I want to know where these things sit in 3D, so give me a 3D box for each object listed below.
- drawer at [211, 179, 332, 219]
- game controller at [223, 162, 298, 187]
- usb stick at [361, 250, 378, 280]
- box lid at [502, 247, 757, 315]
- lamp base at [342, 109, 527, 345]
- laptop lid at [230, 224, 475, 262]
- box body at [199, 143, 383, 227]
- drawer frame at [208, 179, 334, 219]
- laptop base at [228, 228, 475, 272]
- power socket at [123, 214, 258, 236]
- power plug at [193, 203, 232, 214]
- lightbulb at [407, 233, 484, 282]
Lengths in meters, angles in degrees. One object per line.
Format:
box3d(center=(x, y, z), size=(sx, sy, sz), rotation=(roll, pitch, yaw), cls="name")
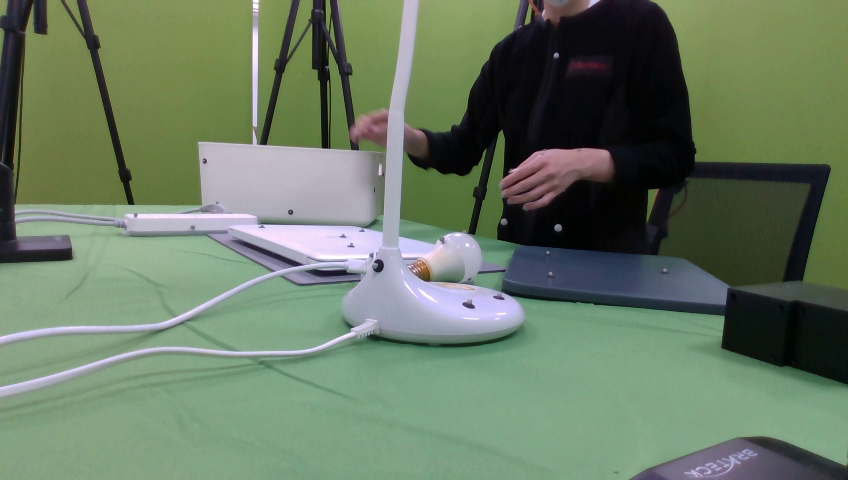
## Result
box3d(center=(-0.328, -0.096, 1.332), size=(0.212, 0.073, 0.194), rotation=(5, 7, 5), cls="drawer")
box3d(center=(-0.357, -0.143, 1.322), size=(0.156, 0.051, 0.097), rotation=(1, 3, -17), cls="game controller")
box3d(center=(-0.052, 0.033, 0.656), size=(0.027, 0.021, 0.059), rotation=(5, -27, -20), cls="usb stick")
box3d(center=(0.244, 0.044, 0.793), size=(0.263, 0.015, 0.372), rotation=(4, 7, 11), cls="box lid")
box3d(center=(0.006, -0.015, 0.505), size=(0.160, 0.180, 0.180), rotation=(6, 11, 29), cls="lamp base")
box3d(center=(-0.119, 0.000, 0.889), size=(0.243, 0.013, 0.355), rotation=(1, 7, -33), cls="laptop lid")
box3d(center=(-0.276, -0.124, 1.334), size=(0.364, 0.160, 0.254), rotation=(3, 7, 1), cls="box body")
box3d(center=(-0.326, -0.093, 1.328), size=(0.213, 0.082, 0.202), rotation=(-1, 6, 6), cls="drawer frame")
box3d(center=(-0.122, 0.011, 0.889), size=(0.237, 0.023, 0.352), rotation=(1, 6, -35), cls="laptop base")
box3d(center=(-0.398, -0.028, 1.049), size=(0.228, 0.032, 0.072), rotation=(-3, 8, -34), cls="power socket")
box3d(center=(-0.393, -0.042, 1.139), size=(0.072, 0.052, 0.035), rotation=(-14, 2, 31), cls="power plug")
box3d(center=(0.020, 0.028, 0.694), size=(0.108, 0.059, 0.059), rotation=(-20, 18, -31), cls="lightbulb")
